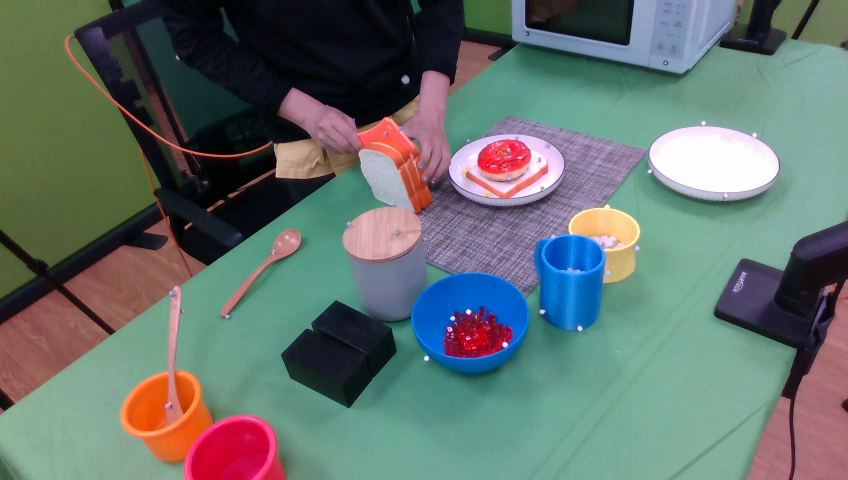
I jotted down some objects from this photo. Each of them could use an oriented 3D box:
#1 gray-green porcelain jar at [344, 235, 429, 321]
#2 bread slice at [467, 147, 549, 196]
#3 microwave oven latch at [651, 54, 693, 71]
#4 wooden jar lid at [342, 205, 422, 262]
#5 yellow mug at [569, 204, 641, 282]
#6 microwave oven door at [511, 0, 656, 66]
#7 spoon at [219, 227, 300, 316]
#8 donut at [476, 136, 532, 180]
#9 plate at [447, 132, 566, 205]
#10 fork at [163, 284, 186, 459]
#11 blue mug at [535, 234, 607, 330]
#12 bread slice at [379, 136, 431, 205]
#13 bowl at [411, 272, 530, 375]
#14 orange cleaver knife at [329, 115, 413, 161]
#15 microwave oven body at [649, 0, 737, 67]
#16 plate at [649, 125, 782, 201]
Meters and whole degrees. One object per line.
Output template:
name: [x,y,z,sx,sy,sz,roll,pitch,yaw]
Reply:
gray-green porcelain jar: [-0.049,0.042,0.849,0.106,0.127,0.105,-4,41,4]
bread slice: [0.156,-0.129,1.084,0.132,0.019,0.104,-34,48,-24]
microwave oven latch: [0.531,-0.386,1.301,0.078,0.029,0.030,26,51,33]
wooden jar lid: [-0.055,-0.005,0.808,0.108,0.021,0.108,-6,40,6]
yellow mug: [0.268,-0.005,0.904,0.099,0.064,0.130,7,41,15]
microwave oven door: [0.350,-0.539,1.349,0.353,0.245,0.039,24,50,31]
spoon: [-0.261,0.046,0.954,0.041,0.021,0.194,27,48,10]
donut: [0.140,-0.146,1.059,0.099,0.048,0.098,-7,41,6]
plate: [0.146,-0.124,1.076,0.209,0.038,0.208,-4,41,4]
fork: [-0.302,0.157,0.733,0.028,0.019,0.207,-3,84,15]
blue mug: [0.191,0.048,0.824,0.082,0.106,0.115,-26,44,-20]
bread slice: [-0.038,-0.126,1.040,0.106,0.135,0.018,27,53,33]
bowl: [0.061,0.120,0.780,0.151,0.077,0.150,-4,40,4]
orange cleaver knife: [-0.093,-0.168,1.036,0.209,0.077,0.012,1,41,52]
microwave oven body: [0.475,-0.602,1.411,0.438,0.261,0.327,23,50,32]
plate: [0.493,-0.127,1.036,0.207,0.039,0.206,-4,41,4]
